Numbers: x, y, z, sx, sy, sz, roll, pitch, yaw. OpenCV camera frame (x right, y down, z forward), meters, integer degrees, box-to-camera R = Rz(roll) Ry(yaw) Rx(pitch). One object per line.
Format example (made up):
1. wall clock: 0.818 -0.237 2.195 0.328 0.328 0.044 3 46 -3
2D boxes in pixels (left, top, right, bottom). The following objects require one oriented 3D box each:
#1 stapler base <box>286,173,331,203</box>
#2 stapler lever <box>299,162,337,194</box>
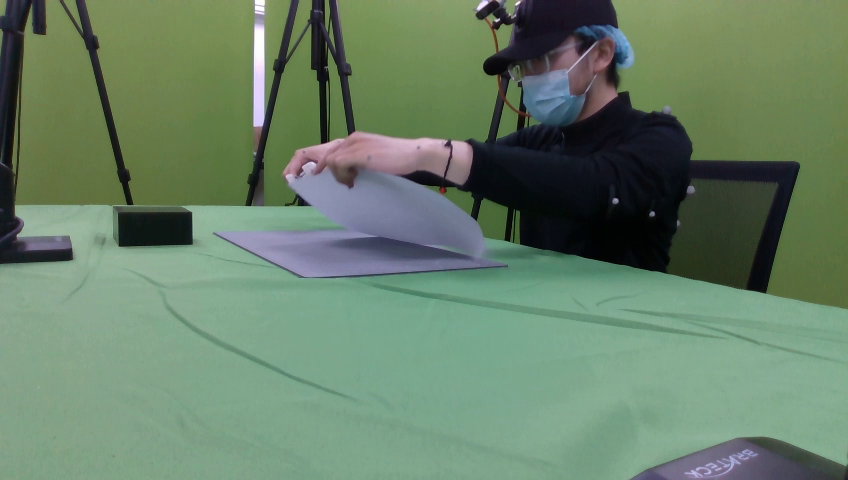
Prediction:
1. stapler base: -0.221 -0.107 1.195 0.024 0.041 0.131 -36 -20 12
2. stapler lever: -0.202 -0.122 1.192 0.040 0.027 0.118 -36 -20 14
